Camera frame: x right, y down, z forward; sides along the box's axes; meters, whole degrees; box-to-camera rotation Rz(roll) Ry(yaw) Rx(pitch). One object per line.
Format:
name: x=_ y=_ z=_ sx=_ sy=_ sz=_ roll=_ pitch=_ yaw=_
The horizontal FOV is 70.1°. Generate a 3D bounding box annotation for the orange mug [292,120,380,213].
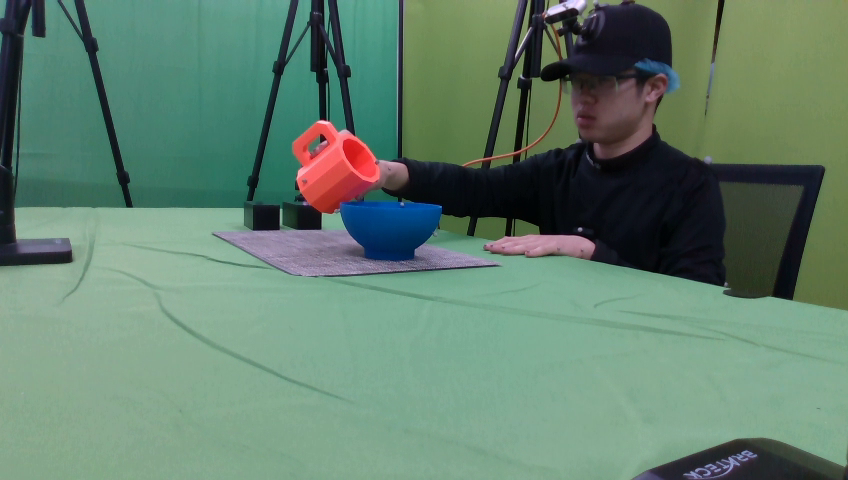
orange mug: x=-0.141 y=-0.116 z=0.919 sx=0.100 sy=0.126 sz=0.083 roll=-28 pitch=10 yaw=28

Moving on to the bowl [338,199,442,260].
bowl: x=-0.050 y=-0.015 z=0.878 sx=0.151 sy=0.077 sz=0.151 roll=2 pitch=8 yaw=0
